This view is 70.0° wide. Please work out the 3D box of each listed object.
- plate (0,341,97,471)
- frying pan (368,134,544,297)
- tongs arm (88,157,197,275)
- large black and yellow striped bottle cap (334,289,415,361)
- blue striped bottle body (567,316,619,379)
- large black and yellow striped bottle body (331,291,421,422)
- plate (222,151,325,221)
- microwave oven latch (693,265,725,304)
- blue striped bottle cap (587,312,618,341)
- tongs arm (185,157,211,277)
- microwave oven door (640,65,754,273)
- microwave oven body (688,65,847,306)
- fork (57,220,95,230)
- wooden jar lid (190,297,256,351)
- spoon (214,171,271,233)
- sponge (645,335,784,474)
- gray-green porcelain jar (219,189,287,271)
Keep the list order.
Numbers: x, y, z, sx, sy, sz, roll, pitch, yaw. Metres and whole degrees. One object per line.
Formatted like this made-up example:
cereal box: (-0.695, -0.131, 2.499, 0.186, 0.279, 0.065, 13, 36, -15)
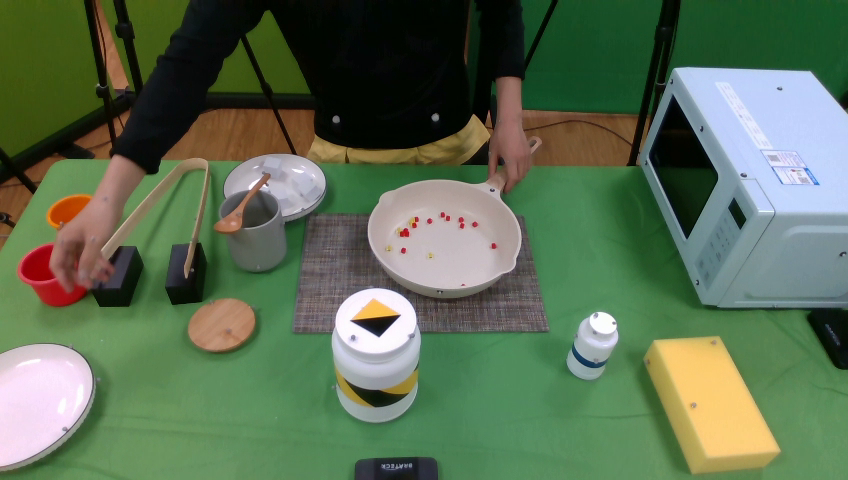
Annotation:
plate: (-0.599, 0.247, 0.904, 0.209, 0.038, 0.208, 2, 47, -2)
frying pan: (0.104, -0.069, 1.205, 0.305, 0.103, 0.487, 32, 61, 23)
tongs arm: (-0.529, -0.061, 1.161, 0.028, 0.028, 0.385, 3, 36, 6)
large black and yellow striped bottle cap: (-0.069, 0.117, 0.850, 0.115, 0.019, 0.114, 2, 45, -2)
blue striped bottle body: (0.276, 0.168, 0.984, 0.063, 0.121, 0.062, 2, 46, -2)
large black and yellow striped bottle body: (-0.071, 0.175, 0.911, 0.131, 0.185, 0.130, 2, 47, -2)
plate: (-0.310, -0.106, 1.262, 0.208, 0.039, 0.206, 2, 46, -2)
microwave oven latch: (0.523, 0.081, 1.116, 0.030, 0.029, 0.078, 2, 46, -1)
blue striped bottle cap: (0.279, 0.134, 0.947, 0.044, 0.021, 0.044, 2, 45, -2)
tongs arm: (-0.446, -0.058, 1.168, 0.051, 0.026, 0.382, -3, 37, -7)
microwave oven door: (0.522, -0.147, 1.193, 0.039, 0.245, 0.353, 0, 47, -3)
microwave oven body: (0.669, -0.111, 1.176, 0.326, 0.261, 0.439, 0, 46, -3)
fork: (-0.624, -0.027, 1.087, 0.028, 0.207, 0.018, -1, 91, -17)
wooden jar lid: (-0.341, 0.145, 1.033, 0.108, 0.021, 0.107, 2, 45, -2)
spoon: (-0.312, -0.070, 1.070, 0.041, 0.022, 0.193, 11, 43, 9)
sponge: (0.449, 0.253, 0.956, 0.118, 0.061, 0.205, -4, 46, -7)
gray-green porcelain jar: (-0.309, -0.015, 1.114, 0.106, 0.127, 0.105, 2, 46, -2)
